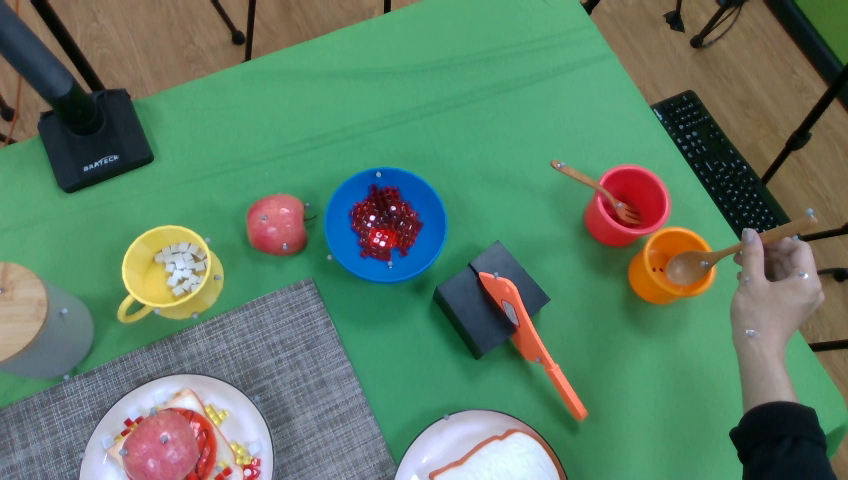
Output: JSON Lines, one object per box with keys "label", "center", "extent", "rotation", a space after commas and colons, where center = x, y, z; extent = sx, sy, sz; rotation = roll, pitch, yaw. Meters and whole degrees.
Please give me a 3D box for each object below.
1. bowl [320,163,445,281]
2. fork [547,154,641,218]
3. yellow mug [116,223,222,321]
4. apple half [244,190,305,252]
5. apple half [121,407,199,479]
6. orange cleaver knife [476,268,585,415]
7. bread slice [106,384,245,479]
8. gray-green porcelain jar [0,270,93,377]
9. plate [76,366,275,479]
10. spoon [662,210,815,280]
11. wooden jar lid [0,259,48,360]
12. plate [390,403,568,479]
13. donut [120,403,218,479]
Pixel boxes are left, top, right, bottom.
{"label": "bowl", "center": [-0.052, -0.013, 0.764], "extent": [0.151, 0.077, 0.150], "rotation": [2, 71, -5]}
{"label": "fork", "center": [0.221, -0.067, 0.772], "extent": [0.209, 0.018, 0.028], "rotation": [23, 62, -41]}
{"label": "yellow mug", "center": [-0.312, 0.047, 0.725], "extent": [0.099, 0.064, 0.130], "rotation": [41, 73, 9]}
{"label": "apple half", "center": [-0.191, -0.028, 0.769], "extent": [0.075, 0.053, 0.080], "rotation": [-3, 72, -4]}
{"label": "apple half", "center": [-0.272, 0.212, 0.616], "extent": [0.081, 0.033, 0.081], "rotation": [0, 71, 1]}
{"label": "orange cleaver knife", "center": [0.127, 0.122, 0.734], "extent": [0.012, 0.077, 0.212], "rotation": [-35, 100, -23]}
{"label": "bread slice", "center": [-0.265, 0.243, 0.674], "extent": [0.107, 0.018, 0.134], "rotation": [-42, 81, -16]}
{"label": "gray-green porcelain jar", "center": [-0.437, 0.093, 0.665], "extent": [0.106, 0.127, 0.105], "rotation": [2, 70, -5]}
{"label": "plate", "center": [-0.269, 0.247, 0.672], "extent": [0.208, 0.039, 0.206], "rotation": [2, 72, -5]}
{"label": "spoon", "center": [0.334, 0.006, 0.662], "extent": [0.022, 0.194, 0.041], "rotation": [1, 73, -20]}
{"label": "wooden jar lid", "center": [-0.432, 0.072, 0.604], "extent": [0.108, 0.021, 0.107], "rotation": [3, 68, -6]}
{"label": "plate", "center": [0.062, 0.294, 0.693], "extent": [0.209, 0.038, 0.207], "rotation": [2, 71, -5]}
{"label": "donut", "center": [-0.272, 0.224, 0.650], "extent": [0.099, 0.048, 0.098], "rotation": [2, 72, -4]}
